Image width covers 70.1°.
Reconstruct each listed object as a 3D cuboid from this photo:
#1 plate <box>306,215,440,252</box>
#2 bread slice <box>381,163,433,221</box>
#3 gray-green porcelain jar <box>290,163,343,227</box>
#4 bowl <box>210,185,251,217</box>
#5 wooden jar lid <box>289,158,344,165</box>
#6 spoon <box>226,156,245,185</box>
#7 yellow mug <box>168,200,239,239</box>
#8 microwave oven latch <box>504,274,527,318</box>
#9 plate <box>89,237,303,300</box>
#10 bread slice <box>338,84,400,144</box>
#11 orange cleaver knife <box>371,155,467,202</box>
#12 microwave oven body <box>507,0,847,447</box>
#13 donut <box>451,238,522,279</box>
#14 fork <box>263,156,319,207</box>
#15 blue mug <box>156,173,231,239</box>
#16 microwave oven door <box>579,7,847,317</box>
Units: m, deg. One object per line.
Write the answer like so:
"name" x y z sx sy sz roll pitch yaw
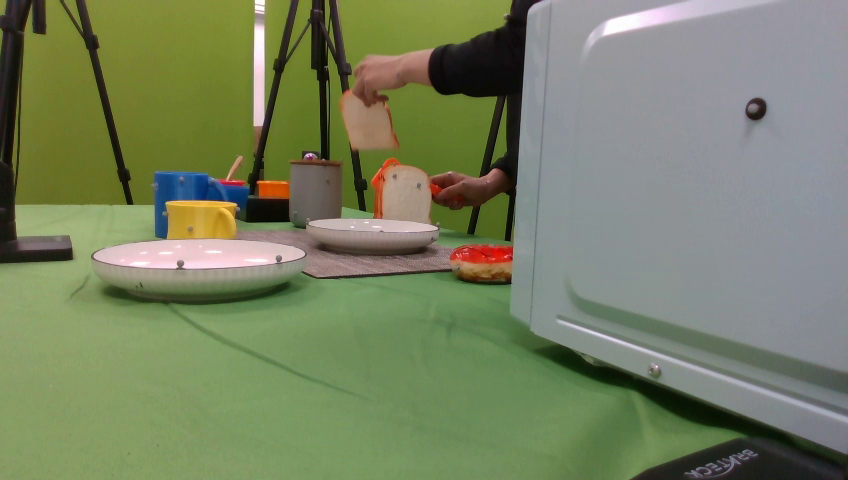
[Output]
"plate" -0.079 -0.011 0.950 0.209 0.038 0.209 2 8 0
"bread slice" -0.035 -0.076 1.122 0.107 0.134 0.018 -3 0 -26
"gray-green porcelain jar" -0.217 -0.091 1.221 0.106 0.126 0.106 2 7 0
"bowl" -0.408 -0.064 1.155 0.151 0.077 0.151 2 8 0
"wooden jar lid" -0.215 -0.153 1.212 0.108 0.020 0.108 2 5 0
"spoon" -0.477 -0.145 1.492 0.041 0.022 0.193 0 51 12
"yellow mug" -0.320 -0.023 0.904 0.130 0.064 0.100 9 11 36
"microwave oven latch" 0.100 0.041 0.471 0.079 0.029 0.030 -1 8 -28
"plate" -0.233 0.029 0.637 0.208 0.039 0.207 2 7 0
"bread slice" -0.111 -0.248 1.196 0.104 0.132 0.019 1 45 18
"orange cleaver knife" -0.007 -0.103 1.212 0.212 0.077 0.012 21 1 -30
"microwave oven body" 0.331 -0.042 0.425 0.444 0.260 0.324 -2 8 -31
"donut" 0.082 0.022 0.745 0.099 0.048 0.099 1 5 0
"fork" -0.331 -0.144 1.505 0.207 0.018 0.028 -42 -20 22
"blue mug" -0.381 -0.057 1.004 0.117 0.106 0.082 1 8 -12
"microwave oven door" 0.294 -0.067 0.570 0.358 0.243 0.039 -3 9 -31
